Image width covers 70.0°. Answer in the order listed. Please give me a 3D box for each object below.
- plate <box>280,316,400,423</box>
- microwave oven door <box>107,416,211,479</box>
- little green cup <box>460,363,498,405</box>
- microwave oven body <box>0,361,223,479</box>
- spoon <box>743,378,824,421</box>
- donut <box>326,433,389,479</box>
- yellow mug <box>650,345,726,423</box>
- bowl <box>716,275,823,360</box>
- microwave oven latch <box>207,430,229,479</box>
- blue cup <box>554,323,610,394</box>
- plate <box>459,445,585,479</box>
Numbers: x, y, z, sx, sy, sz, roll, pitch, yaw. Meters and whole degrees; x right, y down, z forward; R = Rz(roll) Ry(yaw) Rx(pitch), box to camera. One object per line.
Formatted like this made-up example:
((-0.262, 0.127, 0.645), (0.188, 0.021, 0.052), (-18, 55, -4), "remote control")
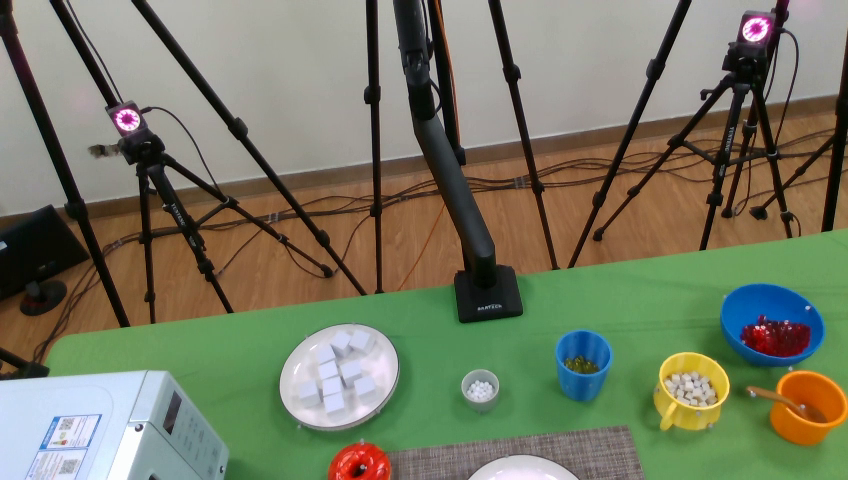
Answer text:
((-0.143, 0.225, 1.047), (0.207, 0.039, 0.205), (-5, 46, 5), "plate")
((-0.343, 0.426, 0.719), (0.039, 0.246, 0.352), (-5, 46, 5), "microwave oven door")
((0.091, 0.238, 0.993), (0.061, 0.039, 0.061), (-5, 45, 6), "little green cup")
((-0.486, 0.413, 0.765), (0.326, 0.263, 0.437), (-5, 47, 5), "microwave oven body")
((0.509, 0.221, 0.857), (0.021, 0.195, 0.041), (-44, 35, 31), "spoon")
((-0.100, 0.341, 0.917), (0.099, 0.049, 0.098), (-6, 47, 7), "donut")
((0.394, 0.229, 0.927), (0.131, 0.064, 0.099), (-40, 52, -24), "yellow mug")
((0.547, 0.139, 0.979), (0.151, 0.077, 0.150), (-5, 47, 6), "bowl")
((-0.327, 0.339, 0.943), (0.030, 0.030, 0.078), (-3, 47, 6), "microwave oven latch")
((0.247, 0.195, 0.963), (0.092, 0.101, 0.091), (-4, 47, 5), "blue cup")
((0.137, 0.389, 0.834), (0.209, 0.038, 0.207), (-5, 46, 6), "plate")
